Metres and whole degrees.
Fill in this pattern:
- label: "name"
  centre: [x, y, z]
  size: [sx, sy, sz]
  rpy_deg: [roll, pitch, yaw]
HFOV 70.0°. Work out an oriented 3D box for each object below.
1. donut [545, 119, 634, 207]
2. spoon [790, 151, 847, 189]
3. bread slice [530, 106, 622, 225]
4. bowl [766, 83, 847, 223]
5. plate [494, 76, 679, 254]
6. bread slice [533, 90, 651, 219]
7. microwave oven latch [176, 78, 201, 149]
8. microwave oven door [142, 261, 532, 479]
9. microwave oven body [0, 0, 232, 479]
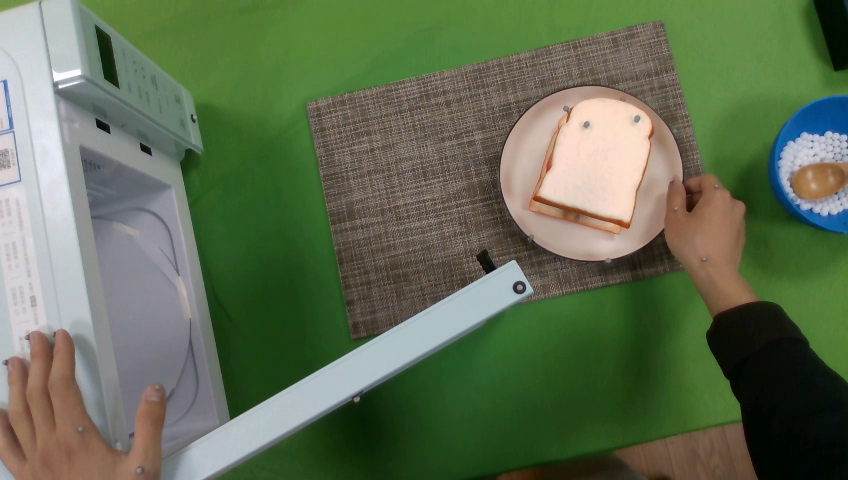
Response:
- label: "donut"
  centre: [0.185, -0.086, 0.679]
  size: [0.099, 0.048, 0.099]
  rpy_deg: [0, 86, 5]
- label: "spoon"
  centre: [0.493, -0.098, 0.638]
  size: [0.193, 0.022, 0.041]
  rpy_deg: [-19, 77, 24]
- label: "bread slice"
  centre: [0.187, -0.092, 0.707]
  size: [0.107, 0.018, 0.134]
  rpy_deg: [12, 85, 5]
- label: "bowl"
  centre: [0.446, -0.088, 0.672]
  size: [0.151, 0.077, 0.151]
  rpy_deg: [0, 84, 4]
- label: "plate"
  centre: [0.186, -0.085, 0.707]
  size: [0.207, 0.039, 0.207]
  rpy_deg: [0, 84, 4]
- label: "bread slice"
  centre: [0.185, -0.098, 0.650]
  size: [0.104, 0.019, 0.131]
  rpy_deg: [16, 83, 11]
- label: "microwave oven latch"
  centre: [-0.295, -0.152, 0.733]
  size: [0.030, 0.029, 0.079]
  rpy_deg: [-14, 84, 2]
- label: "microwave oven door"
  centre: [-0.064, 0.124, 0.587]
  size: [0.356, 0.244, 0.039]
  rpy_deg: [-31, 81, 1]
- label: "microwave oven body"
  centre: [-0.403, 0.044, 0.624]
  size: [0.326, 0.261, 0.440]
  rpy_deg: [-15, 84, 2]
